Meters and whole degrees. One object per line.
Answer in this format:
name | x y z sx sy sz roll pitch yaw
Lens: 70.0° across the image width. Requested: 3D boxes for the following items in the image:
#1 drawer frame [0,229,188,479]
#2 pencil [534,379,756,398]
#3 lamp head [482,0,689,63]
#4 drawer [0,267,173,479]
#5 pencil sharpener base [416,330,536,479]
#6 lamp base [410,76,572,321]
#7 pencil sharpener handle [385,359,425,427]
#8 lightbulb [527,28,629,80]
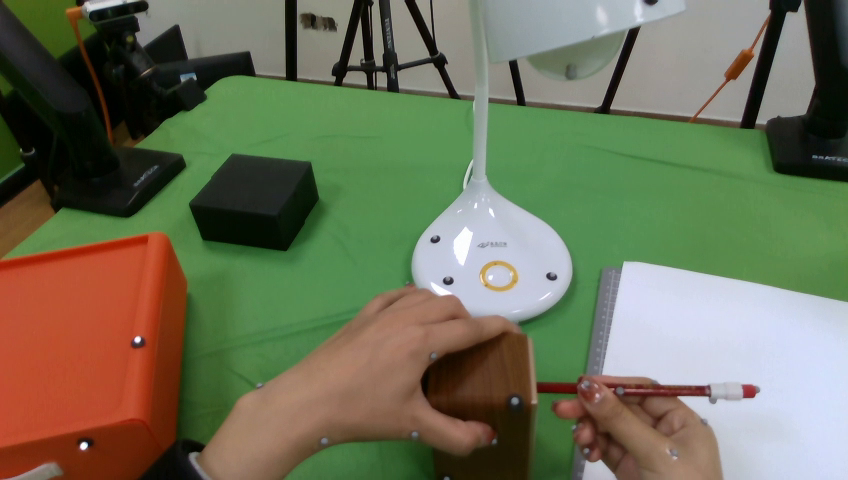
drawer frame | -0.309 0.101 0.494 0.202 0.083 0.211 -12 41 -9
pencil | 0.117 0.097 0.403 0.194 0.012 0.012 0 41 6
lamp head | 0.076 -0.170 0.334 0.112 0.123 0.112 -17 12 4
drawer | -0.306 0.103 0.493 0.195 0.074 0.209 -11 41 -8
pencil sharpener base | 0.037 0.119 0.429 0.076 0.108 0.061 -1 42 5
lamp base | 0.059 -0.046 0.564 0.161 0.182 0.177 -11 39 -8
pencil sharpener handle | -0.015 0.111 0.425 0.030 0.068 0.035 -1 43 5
lightbulb | 0.082 -0.144 0.335 0.059 0.108 0.059 -6 17 2
